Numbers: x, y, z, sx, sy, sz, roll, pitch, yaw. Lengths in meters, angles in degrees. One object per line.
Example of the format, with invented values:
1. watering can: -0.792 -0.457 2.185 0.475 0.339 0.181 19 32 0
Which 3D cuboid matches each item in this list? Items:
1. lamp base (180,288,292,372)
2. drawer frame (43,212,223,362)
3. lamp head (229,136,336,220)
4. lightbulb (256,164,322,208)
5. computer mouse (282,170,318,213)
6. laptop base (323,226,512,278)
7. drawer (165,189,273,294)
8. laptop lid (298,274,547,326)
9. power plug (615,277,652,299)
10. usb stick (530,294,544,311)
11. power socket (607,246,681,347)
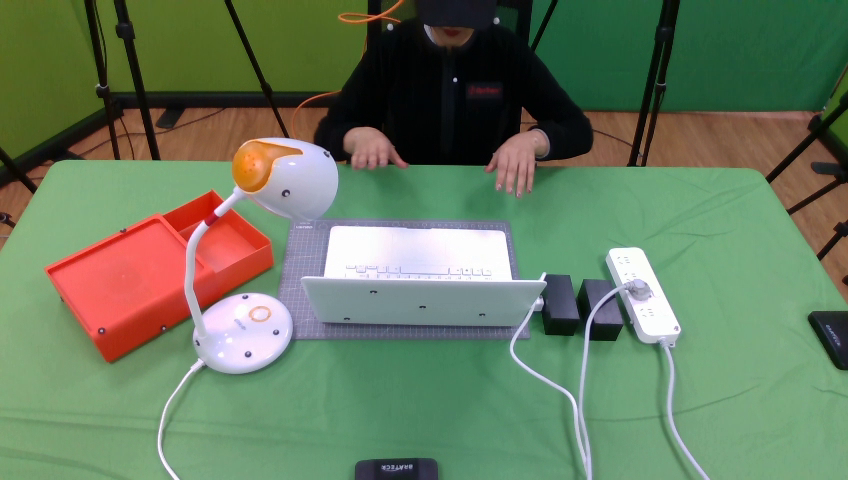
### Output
1. lamp base: -0.309 0.107 0.959 0.160 0.181 0.179 29 55 22
2. drawer frame: -0.497 0.073 1.049 0.213 0.083 0.200 -34 57 -31
3. lamp head: -0.196 -0.085 0.791 0.112 0.112 0.123 36 15 27
4. lightbulb: -0.182 -0.076 0.811 0.059 0.059 0.108 36 13 28
5. computer mouse: -0.259 -0.106 1.272 0.063 0.041 0.116 4 49 -3
6. laptop base: -0.011 0.062 1.137 0.354 0.023 0.234 1 42 -3
7. drawer: -0.419 0.021 1.108 0.193 0.073 0.211 37 55 27
8. laptop lid: -0.004 0.099 0.947 0.357 0.242 0.013 2 67 -4
9. power plug: 0.375 0.088 1.096 0.072 0.053 0.035 6 46 2
10. usb stick: 0.183 0.111 1.086 0.059 0.027 0.021 1 44 -3
11. power socket: 0.403 0.096 1.123 0.072 0.033 0.225 -3 47 -5
